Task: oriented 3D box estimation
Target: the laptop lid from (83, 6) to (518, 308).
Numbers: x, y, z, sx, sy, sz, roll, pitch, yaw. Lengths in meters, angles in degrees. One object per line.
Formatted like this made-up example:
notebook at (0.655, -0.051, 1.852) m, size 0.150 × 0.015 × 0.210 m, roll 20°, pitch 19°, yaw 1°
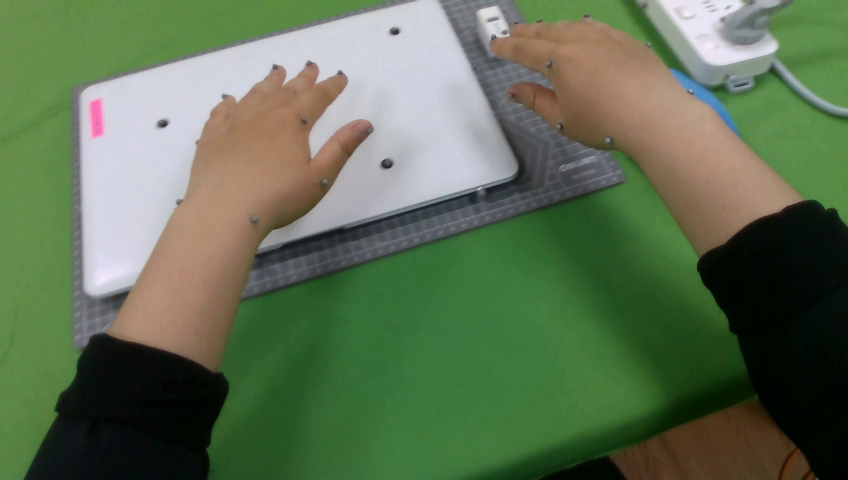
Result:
laptop lid at (-0.121, -0.090, 0.529) m, size 0.357 × 0.013 × 0.239 m, roll -15°, pitch 60°, yaw -4°

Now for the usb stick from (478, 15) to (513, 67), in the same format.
usb stick at (0.067, -0.196, 0.584) m, size 0.021 × 0.027 × 0.058 m, roll -16°, pitch 55°, yaw -2°

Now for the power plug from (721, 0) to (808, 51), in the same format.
power plug at (0.298, -0.182, 0.528) m, size 0.072 × 0.053 × 0.035 m, roll -5°, pitch 60°, yaw 1°

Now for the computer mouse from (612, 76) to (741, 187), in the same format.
computer mouse at (0.208, -0.097, 0.505) m, size 0.063 × 0.041 × 0.116 m, roll -18°, pitch 54°, yaw -3°

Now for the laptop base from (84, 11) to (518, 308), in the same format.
laptop base at (-0.121, -0.085, 0.539) m, size 0.354 × 0.023 × 0.233 m, roll -17°, pitch 61°, yaw -5°

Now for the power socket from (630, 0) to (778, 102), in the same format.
power socket at (0.253, -0.223, 0.583) m, size 0.072 × 0.033 × 0.224 m, roll -15°, pitch 57°, yaw -3°
